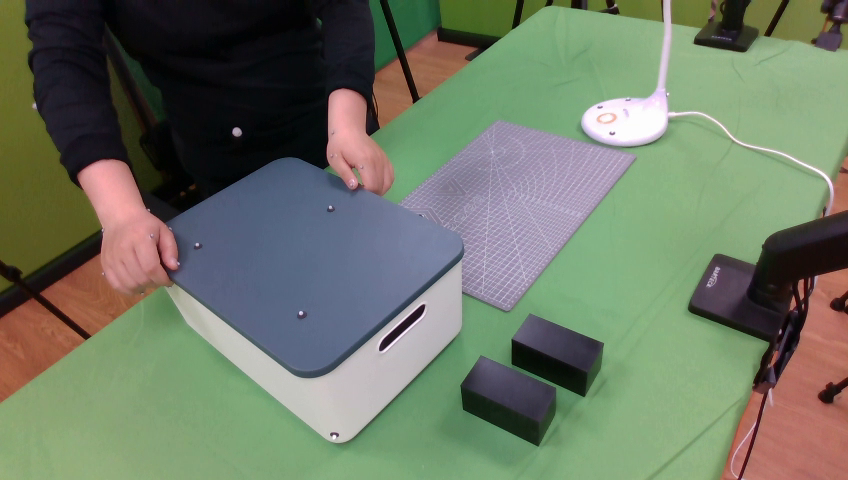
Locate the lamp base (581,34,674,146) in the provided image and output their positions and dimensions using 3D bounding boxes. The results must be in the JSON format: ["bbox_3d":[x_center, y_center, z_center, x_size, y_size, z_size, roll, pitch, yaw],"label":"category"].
[{"bbox_3d":[0.392,-0.291,1.129,0.180,0.181,0.159,-11,41,-8],"label":"lamp base"}]

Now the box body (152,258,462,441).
[{"bbox_3d":[-0.152,0.063,0.809,0.361,0.161,0.255,27,51,33],"label":"box body"}]

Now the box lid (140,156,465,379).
[{"bbox_3d":[-0.158,0.007,0.758,0.368,0.015,0.264,26,51,33],"label":"box lid"}]

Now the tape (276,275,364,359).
[{"bbox_3d":[-0.142,0.105,0.834,0.117,0.053,0.116,-4,41,4],"label":"tape"}]
